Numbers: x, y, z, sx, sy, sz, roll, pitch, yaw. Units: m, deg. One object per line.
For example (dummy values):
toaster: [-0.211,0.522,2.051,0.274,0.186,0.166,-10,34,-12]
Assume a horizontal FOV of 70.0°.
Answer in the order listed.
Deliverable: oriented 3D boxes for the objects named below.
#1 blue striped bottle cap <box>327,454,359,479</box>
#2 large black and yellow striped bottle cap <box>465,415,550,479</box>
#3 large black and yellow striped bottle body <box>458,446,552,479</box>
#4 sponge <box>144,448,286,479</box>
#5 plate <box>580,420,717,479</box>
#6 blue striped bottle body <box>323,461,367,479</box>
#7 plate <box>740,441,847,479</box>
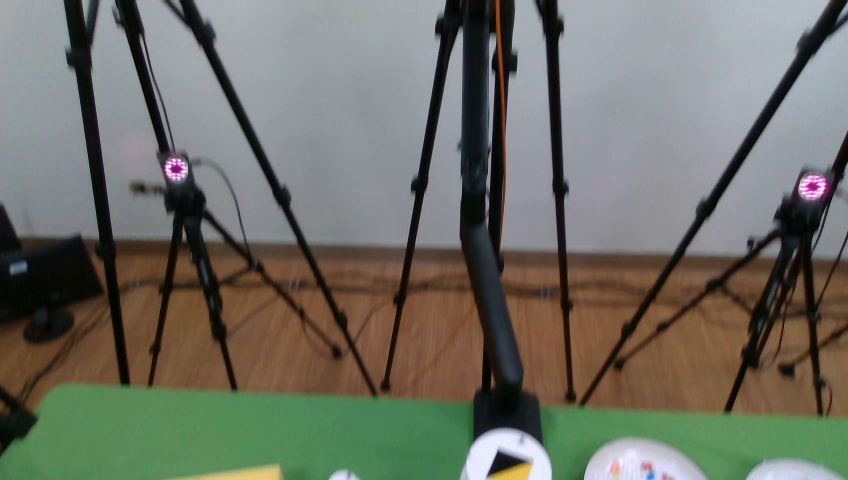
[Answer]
blue striped bottle cap: [-0.117,0.333,0.872,0.044,0.021,0.044,2,38,-1]
large black and yellow striped bottle cap: [0.113,0.289,0.819,0.115,0.019,0.114,0,39,1]
large black and yellow striped bottle body: [0.114,0.356,0.871,0.131,0.185,0.129,-1,38,1]
sponge: [-0.320,0.399,0.924,0.207,0.061,0.117,-6,38,-8]
plate: [0.350,0.381,0.952,0.209,0.038,0.207,-1,38,1]
blue striped bottle body: [-0.115,0.373,0.904,0.063,0.122,0.062,-1,39,1]
plate: [0.587,0.404,0.917,0.208,0.039,0.205,-1,38,1]
